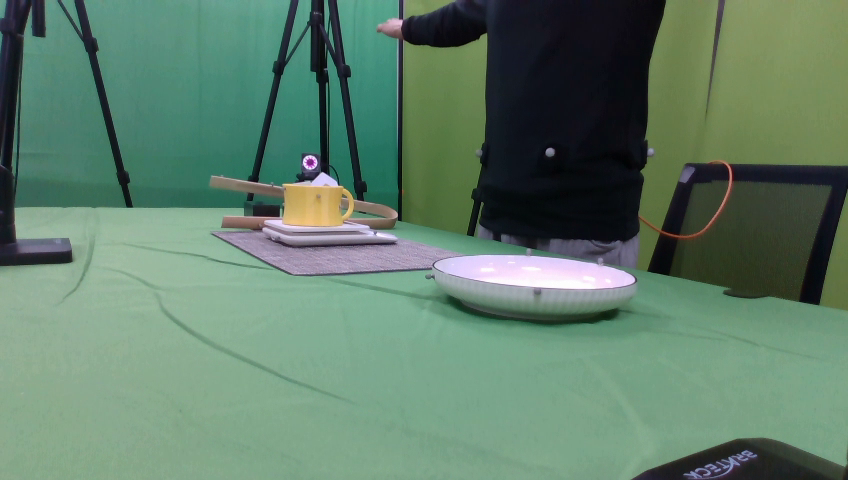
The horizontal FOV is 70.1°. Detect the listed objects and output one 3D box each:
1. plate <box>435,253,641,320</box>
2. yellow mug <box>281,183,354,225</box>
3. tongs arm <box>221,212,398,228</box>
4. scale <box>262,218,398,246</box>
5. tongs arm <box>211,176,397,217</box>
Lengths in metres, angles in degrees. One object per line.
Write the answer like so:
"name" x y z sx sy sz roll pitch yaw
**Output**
"plate" 0.114 0.047 0.626 0.208 0.039 0.207 2 7 0
"yellow mug" -0.172 -0.061 1.009 0.131 0.064 0.099 -2 8 -41
"tongs arm" -0.208 -0.039 1.198 0.390 0.028 0.028 -2 29 -38
"scale" -0.160 -0.016 1.028 0.202 0.031 0.148 -2 9 -32
"tongs arm" -0.240 -0.084 1.257 0.387 0.026 0.050 7 28 -27
